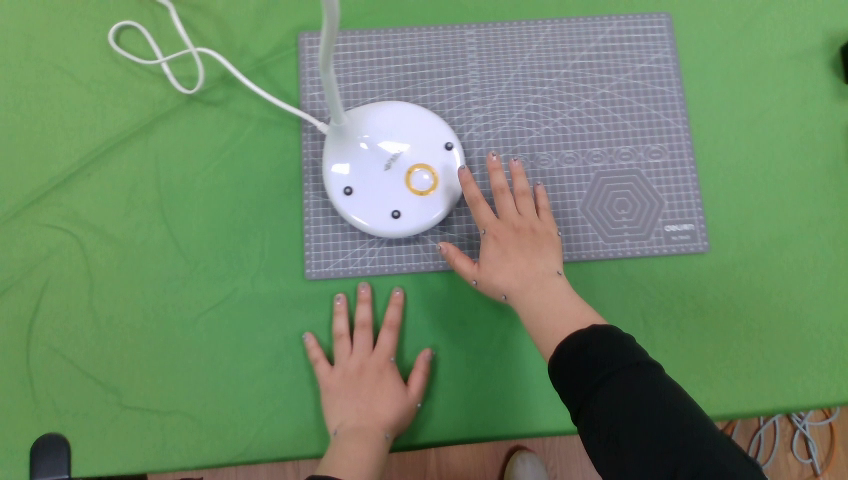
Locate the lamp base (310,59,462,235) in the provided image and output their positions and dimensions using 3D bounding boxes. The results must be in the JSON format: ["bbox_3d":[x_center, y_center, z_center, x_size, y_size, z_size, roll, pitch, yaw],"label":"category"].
[{"bbox_3d":[-0.049,-0.105,0.604,0.179,0.181,0.160,22,78,7],"label":"lamp base"}]
